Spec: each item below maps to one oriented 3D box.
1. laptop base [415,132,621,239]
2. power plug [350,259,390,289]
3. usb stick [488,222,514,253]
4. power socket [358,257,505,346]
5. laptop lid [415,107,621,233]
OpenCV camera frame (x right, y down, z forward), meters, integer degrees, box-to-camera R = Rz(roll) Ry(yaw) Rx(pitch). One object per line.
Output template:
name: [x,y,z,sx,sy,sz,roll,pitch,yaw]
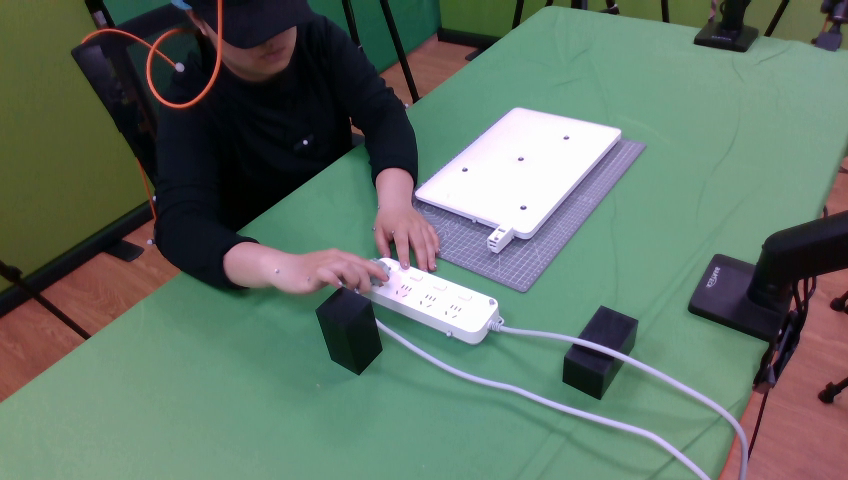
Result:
laptop base: [0.179,-0.134,1.101,0.233,0.023,0.355,20,47,33]
power plug: [-0.080,0.056,0.859,0.073,0.053,0.035,-39,46,-26]
usb stick: [0.124,-0.008,0.944,0.021,0.027,0.059,25,47,31]
power socket: [0.004,0.084,0.862,0.225,0.033,0.072,20,48,28]
laptop lid: [0.176,-0.144,1.094,0.239,0.013,0.358,23,49,33]
